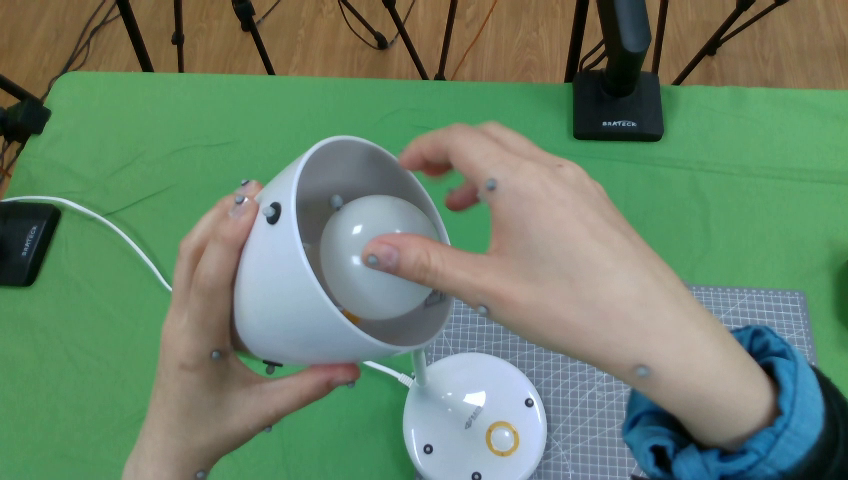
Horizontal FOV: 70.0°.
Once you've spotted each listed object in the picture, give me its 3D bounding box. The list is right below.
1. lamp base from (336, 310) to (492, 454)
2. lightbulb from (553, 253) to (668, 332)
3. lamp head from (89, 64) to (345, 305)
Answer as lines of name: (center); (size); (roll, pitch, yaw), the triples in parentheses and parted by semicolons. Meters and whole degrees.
lamp base: (-0.021, 0.124, 0.608); (0.178, 0.181, 0.160); (15, 71, 12)
lightbulb: (0.148, 0.036, 0.498); (0.059, 0.060, 0.106); (-46, 38, -13)
lamp head: (-0.115, -0.013, 0.317); (0.113, 0.122, 0.111); (15, 65, -35)
